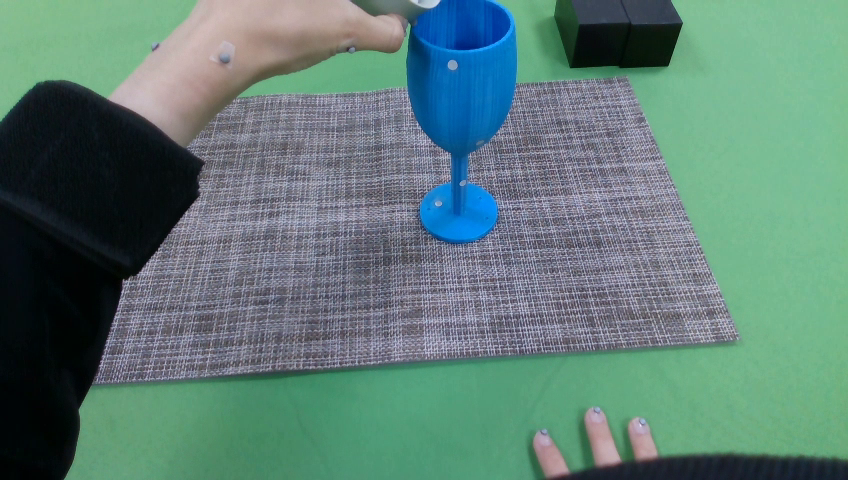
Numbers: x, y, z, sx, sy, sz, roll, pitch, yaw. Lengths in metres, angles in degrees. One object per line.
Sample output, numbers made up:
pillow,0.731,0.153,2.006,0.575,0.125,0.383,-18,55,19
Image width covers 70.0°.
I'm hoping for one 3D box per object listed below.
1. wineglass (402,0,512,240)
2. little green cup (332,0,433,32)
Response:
wineglass,0.023,-0.078,0.430,0.074,0.174,0.073,-1,51,1
little green cup,-0.028,-0.153,0.350,0.038,0.062,0.061,-21,40,38
